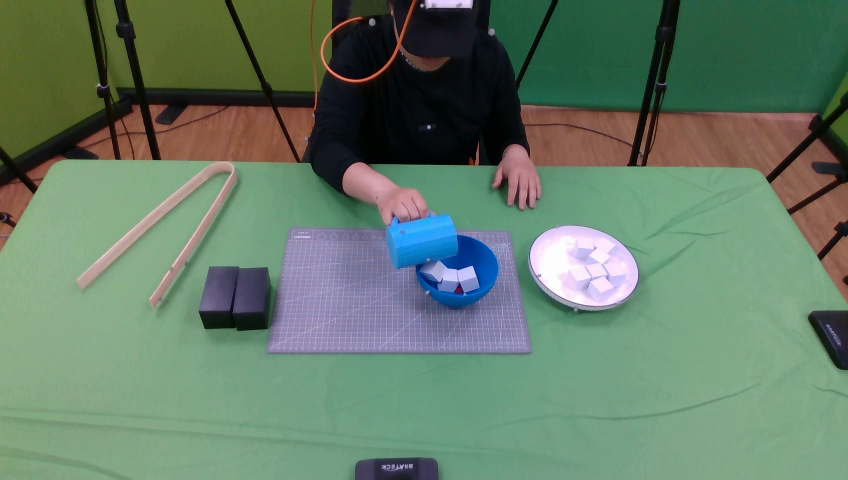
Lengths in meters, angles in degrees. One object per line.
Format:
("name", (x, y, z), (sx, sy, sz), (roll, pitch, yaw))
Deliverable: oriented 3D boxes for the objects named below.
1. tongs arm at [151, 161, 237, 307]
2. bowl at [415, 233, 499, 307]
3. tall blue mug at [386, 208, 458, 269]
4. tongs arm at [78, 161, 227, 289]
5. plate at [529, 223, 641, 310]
("tongs arm", (-0.447, -0.026, 1.180), (0.051, 0.027, 0.383), (8, 46, 10))
("bowl", (0.057, 0.067, 1.093), (0.151, 0.077, 0.150), (2, 46, -2))
("tall blue mug", (-0.009, -0.014, 1.047), (0.108, 0.078, 0.107), (-13, 76, -11))
("tongs arm", (-0.524, -0.043, 1.196), (0.028, 0.028, 0.386), (15, 47, 22))
("plate", (0.303, 0.053, 1.156), (0.209, 0.038, 0.208), (2, 46, -1))
